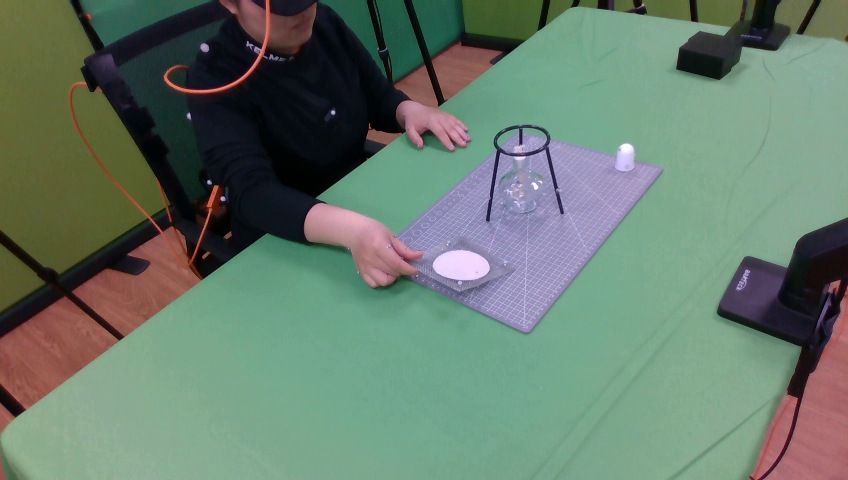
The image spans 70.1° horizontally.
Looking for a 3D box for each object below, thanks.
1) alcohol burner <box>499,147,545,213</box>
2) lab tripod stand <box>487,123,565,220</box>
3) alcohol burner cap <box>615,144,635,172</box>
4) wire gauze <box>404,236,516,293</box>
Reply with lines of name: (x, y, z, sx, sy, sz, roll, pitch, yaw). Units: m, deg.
alcohol burner: (0.161, -0.104, 1.001, 0.078, 0.120, 0.077, -6, 42, 6)
lab tripod stand: (0.162, -0.110, 0.992, 0.148, 0.132, 0.147, -5, 42, 5)
alcohol burner cap: (0.357, -0.147, 1.069, 0.034, 0.048, 0.033, -6, 40, 6)
wire gauze: (0.055, 0.037, 0.916, 0.126, 0.011, 0.120, -23, 37, -36)
